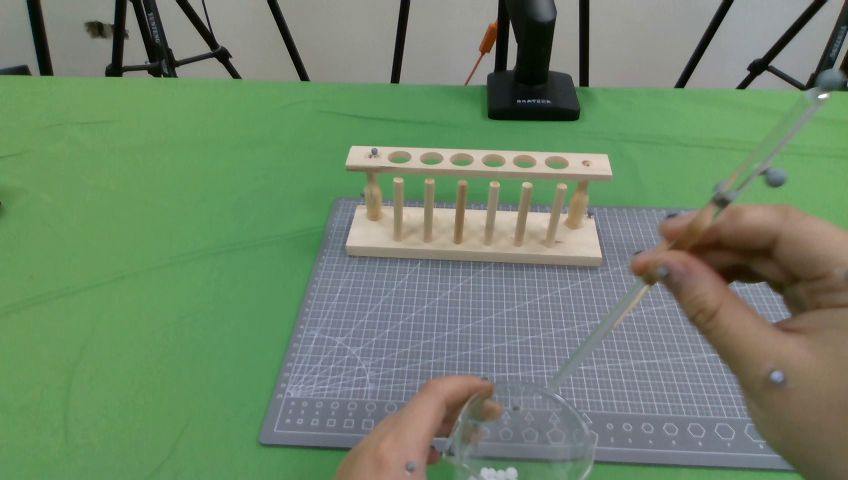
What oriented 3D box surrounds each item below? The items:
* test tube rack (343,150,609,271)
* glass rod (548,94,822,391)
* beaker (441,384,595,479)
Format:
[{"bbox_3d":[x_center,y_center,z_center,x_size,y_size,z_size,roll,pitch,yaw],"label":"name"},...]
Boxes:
[{"bbox_3d":[0.046,-0.028,0.576,0.242,0.086,0.066,3,40,3],"label":"test tube rack"},{"bbox_3d":[0.093,0.020,0.253,0.008,0.201,0.008,8,50,-10],"label":"glass rod"},{"bbox_3d":[0.048,0.146,0.355,0.084,0.101,0.073,-6,39,-12],"label":"beaker"}]
